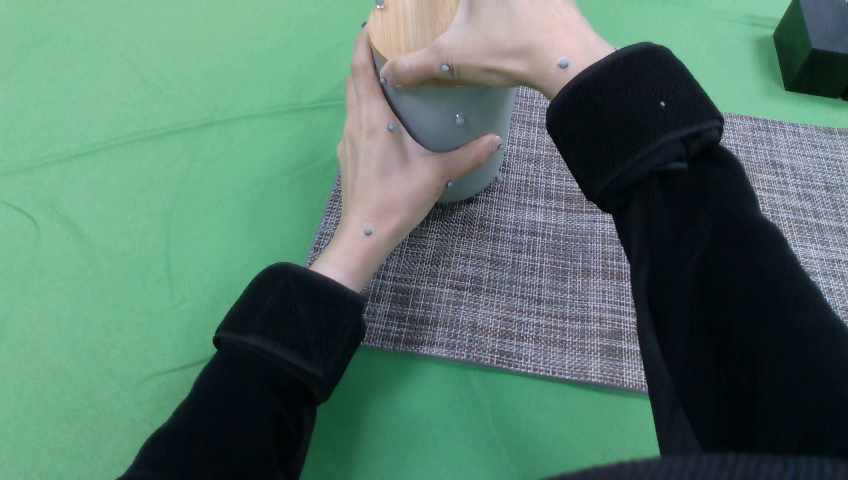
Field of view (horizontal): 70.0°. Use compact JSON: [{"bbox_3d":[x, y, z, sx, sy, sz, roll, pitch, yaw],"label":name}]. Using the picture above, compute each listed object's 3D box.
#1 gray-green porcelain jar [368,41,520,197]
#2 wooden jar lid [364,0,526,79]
[{"bbox_3d":[0.012,-0.104,0.459,0.106,0.127,0.105,2,53,-2],"label":"gray-green porcelain jar"},{"bbox_3d":[0.014,-0.142,0.410,0.108,0.021,0.107,1,55,-1],"label":"wooden jar lid"}]
